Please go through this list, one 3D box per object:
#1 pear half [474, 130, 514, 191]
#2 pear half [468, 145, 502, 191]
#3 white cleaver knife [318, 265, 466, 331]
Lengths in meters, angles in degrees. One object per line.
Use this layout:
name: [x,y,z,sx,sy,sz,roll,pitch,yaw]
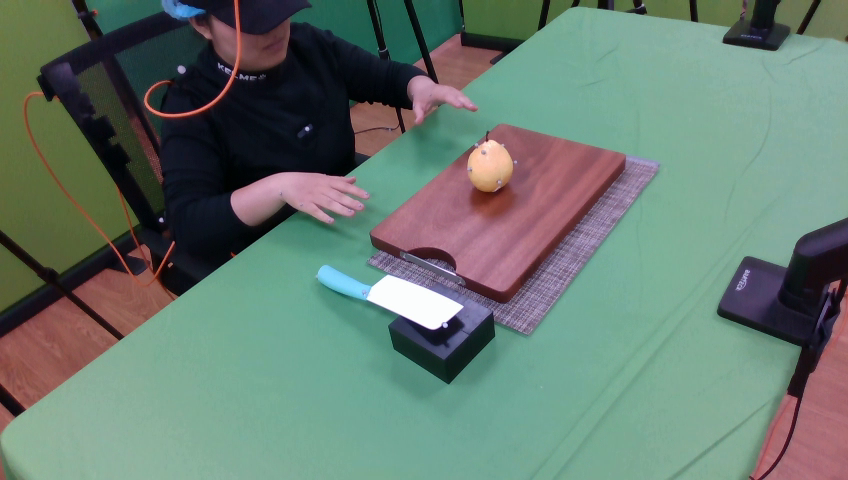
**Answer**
pear half: [0.119,-0.142,1.019,0.076,0.110,0.056,26,51,30]
pear half: [0.097,-0.116,1.007,0.070,0.088,0.031,27,52,26]
white cleaver knife: [-0.056,0.075,0.871,0.284,0.021,0.066,17,42,43]
